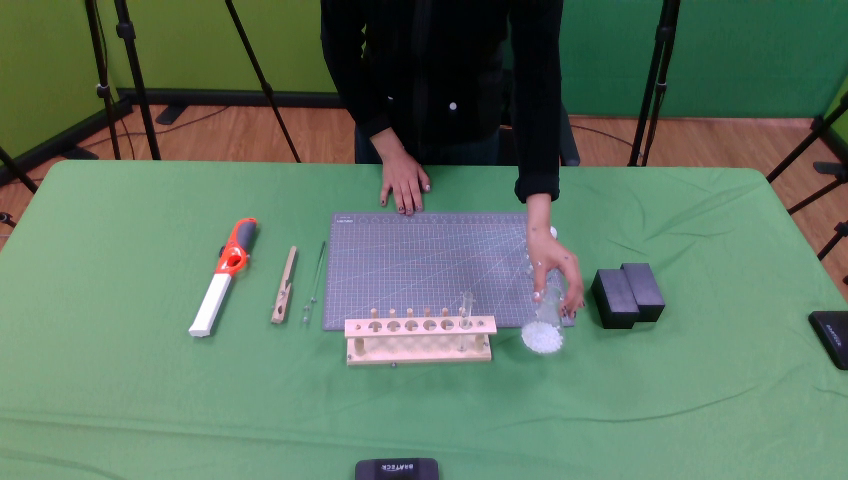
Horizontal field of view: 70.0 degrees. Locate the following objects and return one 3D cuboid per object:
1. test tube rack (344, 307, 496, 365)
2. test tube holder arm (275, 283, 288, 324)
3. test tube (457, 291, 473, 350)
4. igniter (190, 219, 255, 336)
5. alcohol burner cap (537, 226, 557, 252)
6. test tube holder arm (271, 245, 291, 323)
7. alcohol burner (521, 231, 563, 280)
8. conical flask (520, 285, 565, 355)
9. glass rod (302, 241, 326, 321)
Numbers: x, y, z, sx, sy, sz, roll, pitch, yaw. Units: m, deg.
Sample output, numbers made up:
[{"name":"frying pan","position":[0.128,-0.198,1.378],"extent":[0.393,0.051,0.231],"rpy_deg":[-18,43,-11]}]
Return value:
[{"name":"test tube rack","position":[-0.009,0.154,1.007],"extent":[0.242,0.085,0.066],"rpy_deg":[-1,46,-5]},{"name":"test tube holder arm","position":[-0.254,0.110,1.077],"extent":[0.010,0.015,0.087],"rpy_deg":[30,37,-28]},{"name":"test tube","position":[0.064,0.132,0.964],"extent":[0.017,0.151,0.017],"rpy_deg":[1,48,-1]},{"name":"igniter","position":[-0.365,0.058,1.110],"extent":[0.057,0.025,0.275],"rpy_deg":[-1,45,8]},{"name":"alcohol burner cap","position":[0.226,-0.004,1.104],"extent":[0.034,0.048,0.033],"rpy_deg":[0,50,1]},{"name":"test tube holder arm","position":[-0.260,0.076,1.106],"extent":[0.013,0.015,0.177],"rpy_deg":[29,38,-29]},{"name":"alcohol burner","position":[0.224,0.020,1.131],"extent":[0.078,0.119,0.077],"rpy_deg":[4,46,-4]},{"name":"conical flask","position":[0.197,0.124,0.974],"extent":[0.075,0.122,0.075],"rpy_deg":[0,46,0]},{"name":"glass rod","position":[-0.203,0.071,1.124],"extent":[0.008,0.008,0.198],"rpy_deg":[5,44,1]}]
